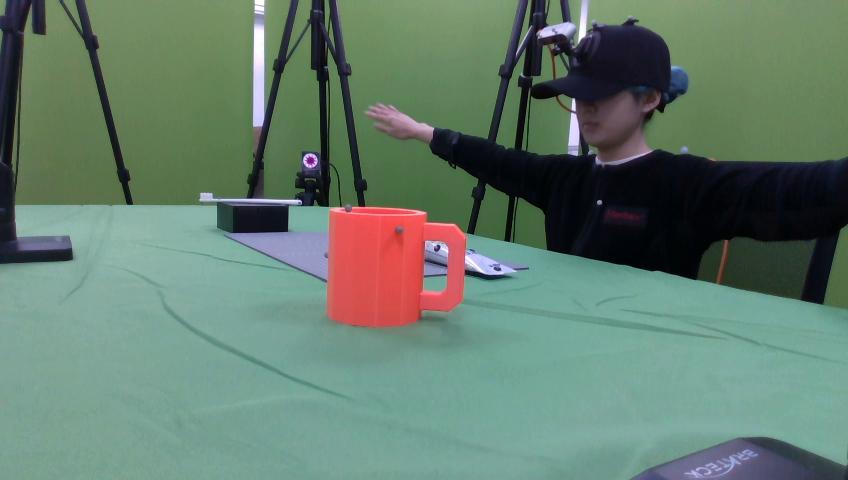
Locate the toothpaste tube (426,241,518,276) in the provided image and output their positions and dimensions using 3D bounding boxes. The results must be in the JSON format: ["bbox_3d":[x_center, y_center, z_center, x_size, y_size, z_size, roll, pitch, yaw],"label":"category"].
[{"bbox_3d":[0.045,0.024,0.805,0.055,0.034,0.164,-10,18,-41],"label":"toothpaste tube"}]

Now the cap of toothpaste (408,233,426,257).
[{"bbox_3d":[-0.008,0.008,0.864,0.011,0.037,0.037,8,9,38],"label":"cap of toothpaste"}]

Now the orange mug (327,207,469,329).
[{"bbox_3d":[-0.024,0.021,0.535,0.126,0.100,0.083,-1,6,8],"label":"orange mug"}]

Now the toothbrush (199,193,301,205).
[{"bbox_3d":[-0.323,-0.076,1.129,0.182,0.016,0.014,2,5,-15],"label":"toothbrush"}]
